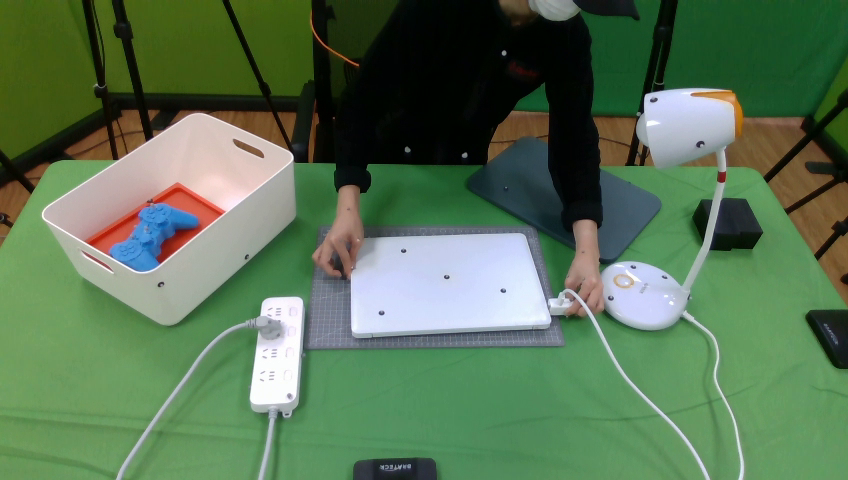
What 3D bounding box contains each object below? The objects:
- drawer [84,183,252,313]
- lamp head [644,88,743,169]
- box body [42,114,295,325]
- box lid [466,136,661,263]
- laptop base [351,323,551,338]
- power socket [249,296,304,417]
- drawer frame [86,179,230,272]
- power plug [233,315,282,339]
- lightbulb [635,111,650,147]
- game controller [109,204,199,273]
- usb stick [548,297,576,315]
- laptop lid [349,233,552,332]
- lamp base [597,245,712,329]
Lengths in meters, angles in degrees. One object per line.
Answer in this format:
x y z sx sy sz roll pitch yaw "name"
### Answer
-0.457 0.008 1.099 0.194 0.073 0.211 29 49 21 "drawer"
0.380 -0.161 0.851 0.122 0.113 0.112 -4 42 25 "lamp head"
-0.437 -0.046 1.110 0.253 0.161 0.363 24 49 18 "box body"
0.306 -0.102 1.327 0.370 0.015 0.263 32 51 25 "box lid"
0.040 0.081 1.125 0.355 0.023 0.234 -2 43 -6 "laptop base"
-0.239 0.182 0.996 0.072 0.033 0.225 -2 47 -5 "power socket"
-0.453 0.010 1.100 0.201 0.083 0.213 28 54 23 "drawer frame"
-0.271 0.144 0.999 0.072 0.053 0.035 6 47 3 "power plug"
0.348 -0.163 0.852 0.059 0.060 0.107 -35 19 -32 "lightbulb"
-0.467 -0.005 1.044 0.097 0.052 0.154 8 45 10 "game controller"
0.240 0.119 1.086 0.059 0.027 0.021 -5 49 -1 "usb stick"
0.040 0.071 1.119 0.357 0.013 0.240 -1 44 -5 "laptop lid"
0.418 0.051 1.071 0.179 0.181 0.160 22 49 13 "lamp base"
